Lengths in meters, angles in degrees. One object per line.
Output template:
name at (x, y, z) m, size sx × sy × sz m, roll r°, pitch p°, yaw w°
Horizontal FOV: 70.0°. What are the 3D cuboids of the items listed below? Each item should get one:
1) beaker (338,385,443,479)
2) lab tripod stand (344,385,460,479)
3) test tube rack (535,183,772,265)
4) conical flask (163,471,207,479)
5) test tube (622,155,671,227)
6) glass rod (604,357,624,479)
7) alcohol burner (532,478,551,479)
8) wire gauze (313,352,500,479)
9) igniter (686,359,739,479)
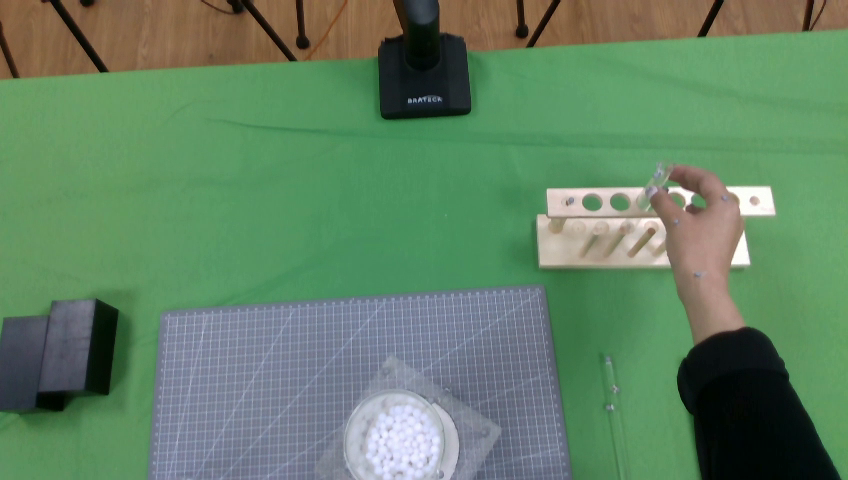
beaker at (-0.019, 0.161, 0.484) m, size 0.074 × 0.101 × 0.083 m, roll -41°, pitch 74°, yaw -12°
lab tripod stand at (-0.015, 0.201, 0.591) m, size 0.148 × 0.132 × 0.147 m, roll -1°, pitch 72°, yaw 3°
test tube rack at (0.255, -0.016, 0.692) m, size 0.242 × 0.086 × 0.066 m, roll 0°, pitch 70°, yaw 1°
conical flask at (-0.253, 0.262, 0.580) m, size 0.075 × 0.122 × 0.075 m, roll 0°, pitch 70°, yaw 1°
test tube at (0.236, -0.048, 0.651) m, size 0.017 × 0.151 × 0.017 m, roll -2°, pitch 68°, yaw 4°
glass rod at (0.207, 0.225, 0.647) m, size 0.008 × 0.008 × 0.198 m, roll -2°, pitch 73°, yaw 0°
alcohol burner at (0.116, 0.267, 0.575) m, size 0.078 × 0.120 × 0.077 m, roll -1°, pitch 69°, yaw 4°
wire gauze at (-0.015, 0.181, 0.529) m, size 0.124 × 0.011 × 0.121 m, roll 32°, pitch 77°, yaw 10°
igniter at (0.308, 0.262, 0.622) m, size 0.057 × 0.025 × 0.274 m, roll 2°, pitch 70°, yaw -9°
